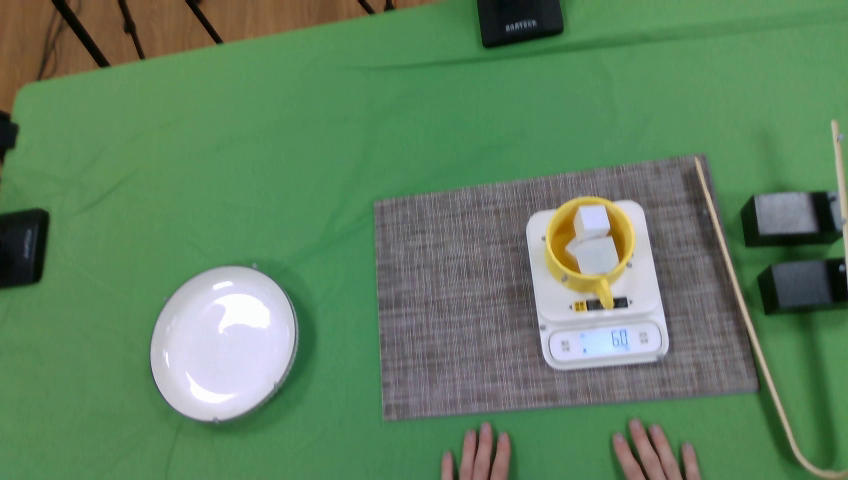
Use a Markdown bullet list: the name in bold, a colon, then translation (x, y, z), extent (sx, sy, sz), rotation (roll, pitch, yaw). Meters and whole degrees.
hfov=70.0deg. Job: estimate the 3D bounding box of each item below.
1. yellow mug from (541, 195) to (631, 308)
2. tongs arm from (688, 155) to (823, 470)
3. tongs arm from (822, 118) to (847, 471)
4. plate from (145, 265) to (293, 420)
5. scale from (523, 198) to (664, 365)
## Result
- **yellow mug**: translation (0.194, 0.018, 0.718), extent (0.100, 0.064, 0.130), rotation (-17, 71, 4)
- **tongs arm**: translation (0.381, 0.071, 0.716), extent (0.028, 0.028, 0.384), rotation (-21, 69, 27)
- **tongs arm**: translation (0.446, 0.054, 0.670), extent (0.050, 0.027, 0.383), rotation (-8, 77, 34)
- **plate**: translation (-0.273, 0.138, 0.820), extent (0.207, 0.039, 0.206), rotation (-3, 72, 9)
- **scale**: translation (0.208, 0.049, 0.756), extent (0.148, 0.032, 0.199), rotation (-8, 72, 9)
